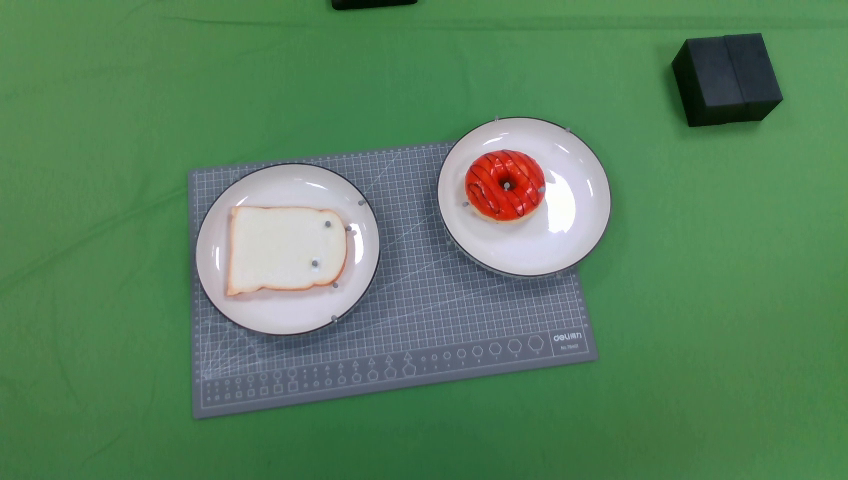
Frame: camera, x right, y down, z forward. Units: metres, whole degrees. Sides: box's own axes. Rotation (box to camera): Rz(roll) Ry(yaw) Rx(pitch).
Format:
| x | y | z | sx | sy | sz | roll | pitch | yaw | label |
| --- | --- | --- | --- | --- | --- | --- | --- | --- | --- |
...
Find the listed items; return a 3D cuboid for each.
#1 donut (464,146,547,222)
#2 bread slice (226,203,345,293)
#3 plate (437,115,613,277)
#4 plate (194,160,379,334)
| x | y | z | sx | sy | sz | roll | pitch | yaw | label |
| --- | --- | --- | --- | --- | --- | --- | --- | --- | --- |
| 0.096 | -0.067 | 0.720 | 0.099 | 0.048 | 0.098 | 0 | 67 | 1 | donut |
| -0.159 | 0.005 | 0.700 | 0.134 | 0.018 | 0.106 | -5 | 72 | -4 | bread slice |
| 0.119 | -0.052 | 0.728 | 0.208 | 0.039 | 0.206 | 1 | 71 | -2 | plate |
| -0.155 | 0.009 | 0.698 | 0.209 | 0.038 | 0.207 | 1 | 71 | -2 | plate |
